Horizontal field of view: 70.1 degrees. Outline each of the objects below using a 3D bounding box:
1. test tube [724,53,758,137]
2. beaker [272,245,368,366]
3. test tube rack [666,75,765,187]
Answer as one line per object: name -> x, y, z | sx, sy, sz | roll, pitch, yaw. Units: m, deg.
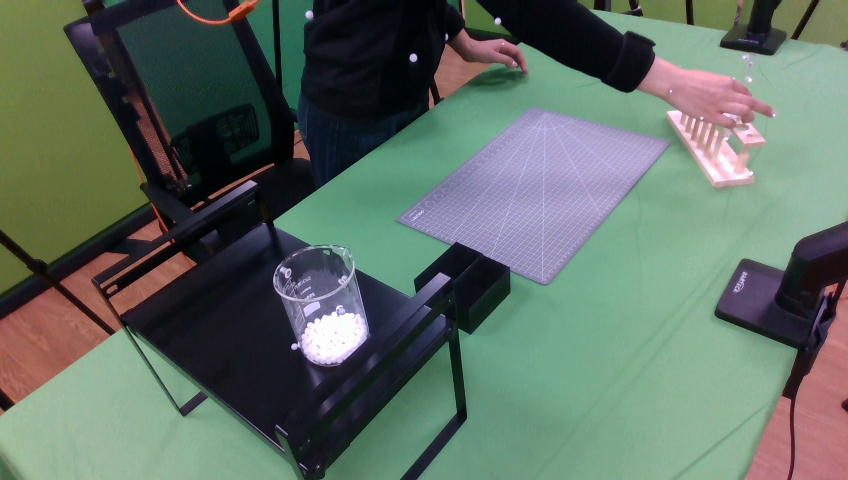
test tube -> 0.521, -0.235, 0.998 | 0.017, 0.151, 0.017 | -2, 42, 3
beaker -> -0.093, 0.064, 0.578 | 0.073, 0.101, 0.084 | 21, 48, 29
test tube rack -> 0.512, -0.202, 1.082 | 0.067, 0.085, 0.241 | -6, 41, 2
